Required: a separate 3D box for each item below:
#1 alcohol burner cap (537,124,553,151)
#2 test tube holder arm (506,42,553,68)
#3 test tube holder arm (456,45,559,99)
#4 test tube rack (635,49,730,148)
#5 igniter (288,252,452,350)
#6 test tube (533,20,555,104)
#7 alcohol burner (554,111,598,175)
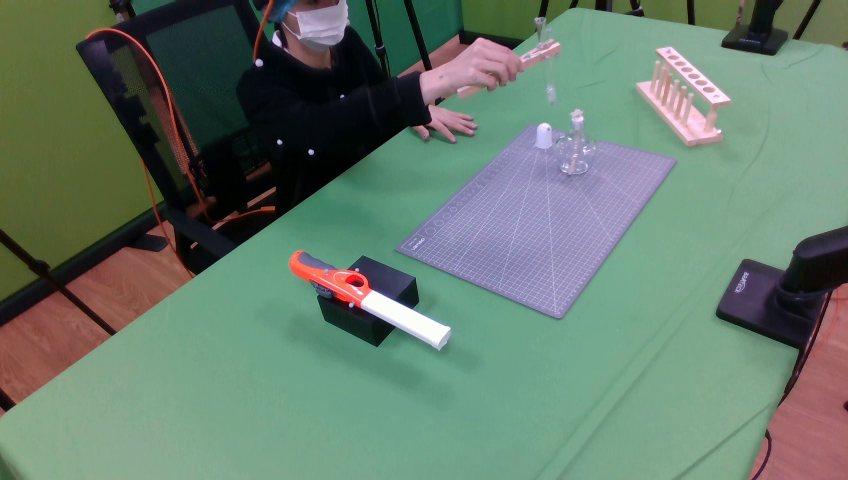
[{"bbox_3d":[0.232,-0.199,1.158,0.034,0.048,0.033,-5,40,5],"label":"alcohol burner cap"},{"bbox_3d":[0.165,-0.284,0.945,0.088,0.015,0.010,-33,45,-15],"label":"test tube holder arm"},{"bbox_3d":[0.129,-0.259,0.932,0.179,0.015,0.013,-27,43,-10],"label":"test tube holder arm"},{"bbox_3d":[0.497,-0.283,1.185,0.067,0.085,0.240,-10,40,-2],"label":"test tube rack"},{"bbox_3d":[-0.084,0.077,0.821,0.274,0.025,0.057,23,48,27],"label":"igniter"},{"bbox_3d":[0.192,-0.279,0.961,0.017,0.151,0.017,-11,46,12],"label":"test tube"},{"bbox_3d":[0.270,-0.175,1.066,0.078,0.119,0.077,-4,42,4],"label":"alcohol burner"}]
